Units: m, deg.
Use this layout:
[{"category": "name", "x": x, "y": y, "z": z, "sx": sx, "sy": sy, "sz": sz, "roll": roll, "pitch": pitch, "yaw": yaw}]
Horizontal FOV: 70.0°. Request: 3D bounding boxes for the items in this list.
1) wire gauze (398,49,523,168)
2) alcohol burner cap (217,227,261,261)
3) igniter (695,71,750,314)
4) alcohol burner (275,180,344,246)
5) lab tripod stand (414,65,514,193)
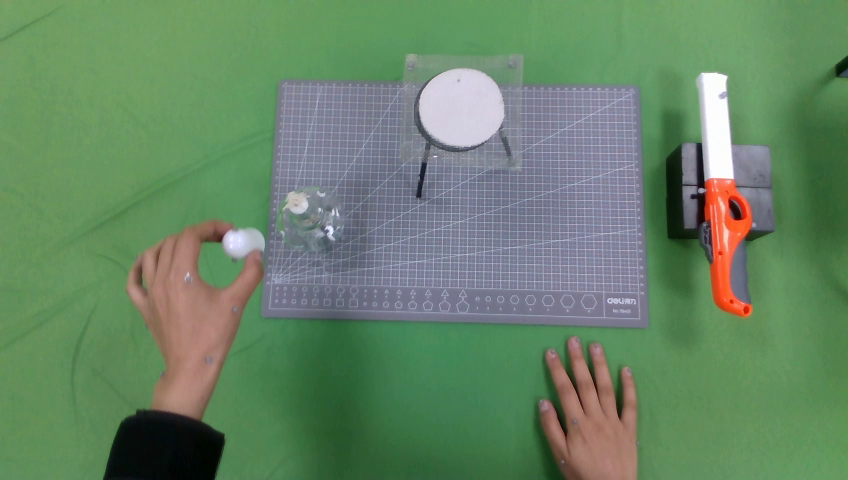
[{"category": "wire gauze", "x": 0.038, "y": -0.135, "z": 0.609, "sx": 0.125, "sy": 0.011, "sz": 0.121, "roll": 4, "pitch": 79, "yaw": 2}, {"category": "alcohol burner cap", "x": -0.180, "y": 0.002, "z": 0.580, "sx": 0.034, "sy": 0.048, "sz": 0.034, "roll": 0, "pitch": 84, "yaw": 4}, {"category": "igniter", "x": 0.326, "y": -0.057, "z": 0.667, "sx": 0.057, "sy": 0.025, "sz": 0.275, "roll": 2, "pitch": 77, "yaw": -1}, {"category": "alcohol burner", "x": -0.131, "y": -0.033, "z": 0.671, "sx": 0.078, "sy": 0.119, "sz": 0.077, "roll": 0, "pitch": 81, "yaw": 2}, {"category": "lab tripod stand", "x": 0.034, "y": -0.127, "z": 0.676, "sx": 0.148, "sy": 0.132, "sz": 0.147, "roll": -1, "pitch": 78, "yaw": 3}]
